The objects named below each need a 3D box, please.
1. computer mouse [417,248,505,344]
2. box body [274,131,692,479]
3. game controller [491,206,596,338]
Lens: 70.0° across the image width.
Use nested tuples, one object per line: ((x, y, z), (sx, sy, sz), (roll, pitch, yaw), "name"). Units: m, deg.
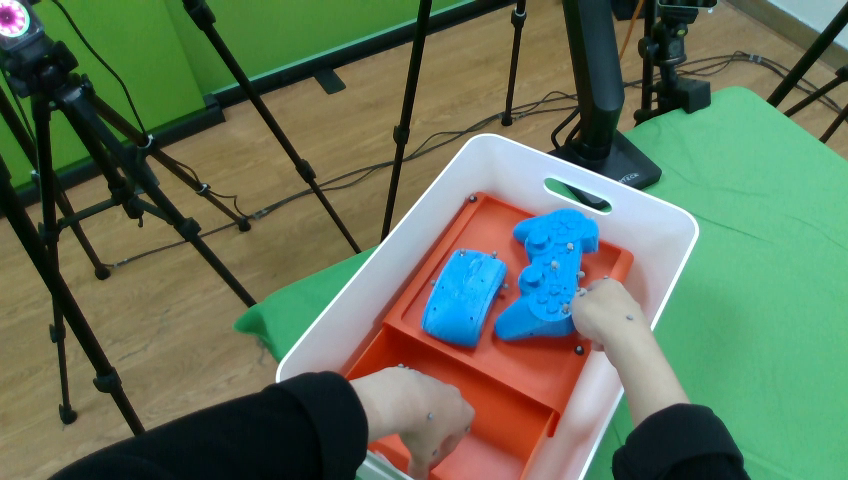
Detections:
((0.039, 0.051, 0.624), (0.062, 0.041, 0.116), (16, 49, 15), "computer mouse")
((0.070, 0.093, 0.608), (0.252, 0.162, 0.363), (26, 58, 19), "box body")
((0.123, 0.027, 0.620), (0.097, 0.052, 0.154), (1, 52, 20), "game controller")
